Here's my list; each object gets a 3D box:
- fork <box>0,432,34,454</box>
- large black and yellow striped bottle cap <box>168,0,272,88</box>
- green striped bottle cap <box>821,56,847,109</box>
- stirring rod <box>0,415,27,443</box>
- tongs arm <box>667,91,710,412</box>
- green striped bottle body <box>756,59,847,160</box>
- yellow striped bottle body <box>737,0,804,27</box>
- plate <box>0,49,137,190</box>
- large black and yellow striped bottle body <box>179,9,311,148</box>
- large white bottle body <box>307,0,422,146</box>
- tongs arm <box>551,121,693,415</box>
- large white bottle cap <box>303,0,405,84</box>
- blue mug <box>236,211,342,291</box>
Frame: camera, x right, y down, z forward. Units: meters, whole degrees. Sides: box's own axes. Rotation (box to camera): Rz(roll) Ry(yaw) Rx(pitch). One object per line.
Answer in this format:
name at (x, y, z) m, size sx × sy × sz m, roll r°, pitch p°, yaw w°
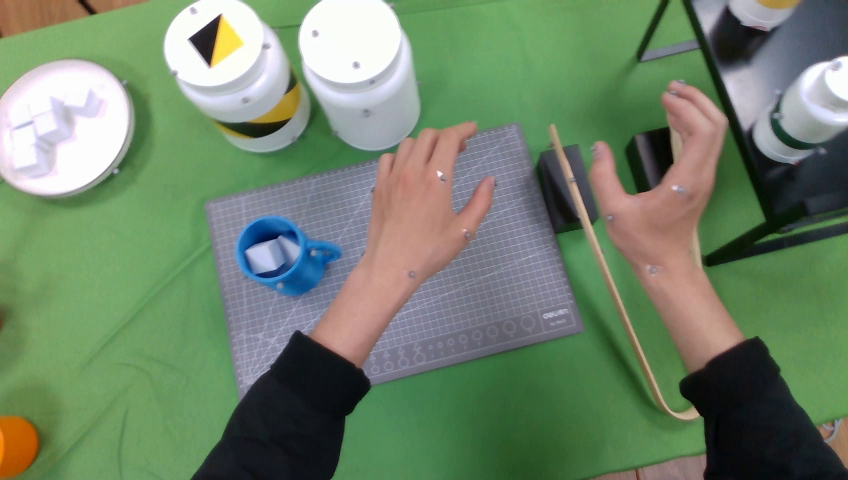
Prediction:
fork at (-0.582, 0.239, 0.714) m, size 0.209 × 0.018 × 0.028 m, roll 15°, pitch 72°, yaw -38°
large black and yellow striped bottle cap at (-0.234, -0.230, 0.694) m, size 0.115 × 0.019 × 0.114 m, roll 0°, pitch 78°, yaw 2°
green striped bottle cap at (0.369, -0.136, 0.521) m, size 0.044 × 0.020 × 0.044 m, roll -1°, pitch 78°, yaw 4°
stirring rod at (-0.550, 0.270, 0.711) m, size 0.014 × 0.006 × 0.175 m, roll 33°, pitch 39°, yaw 6°
tongs arm at (0.319, 0.013, 0.739) m, size 0.028 × 0.028 × 0.387 m, roll -5°, pitch 89°, yaw -7°
green striped bottle body at (0.372, -0.125, 0.572) m, size 0.063 × 0.120 × 0.063 m, roll -1°, pitch 77°, yaw 4°
yellow striped bottle body at (0.369, -0.273, 0.604) m, size 0.063 × 0.121 × 0.062 m, roll -1°, pitch 77°, yaw 3°
plate at (-0.503, -0.167, 0.856) m, size 0.207 × 0.039 × 0.206 m, roll -1°, pitch 78°, yaw 3°
large black and yellow striped bottle body at (-0.228, -0.209, 0.775) m, size 0.131 × 0.185 × 0.130 m, roll -1°, pitch 77°, yaw 3°
large white bottle body at (-0.073, -0.211, 0.767) m, size 0.130 × 0.185 × 0.130 m, roll -1°, pitch 77°, yaw 3°
tongs arm at (0.239, 0.032, 0.737) m, size 0.051 × 0.026 × 0.384 m, roll -18°, pitch 89°, yaw -4°
large white bottle cap at (-0.079, -0.231, 0.685) m, size 0.115 × 0.018 × 0.114 m, roll -1°, pitch 77°, yaw 3°
blue mug at (-0.161, 0.014, 0.760) m, size 0.116 × 0.106 × 0.082 m, roll -7°, pitch 77°, yaw 1°
